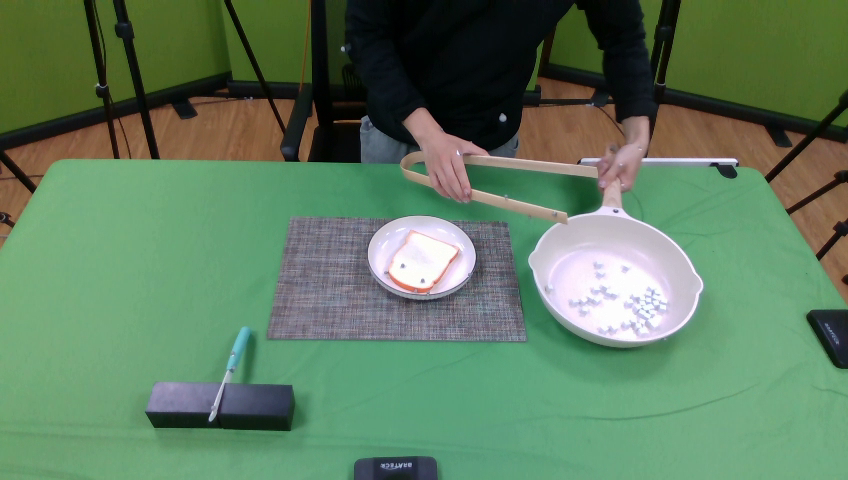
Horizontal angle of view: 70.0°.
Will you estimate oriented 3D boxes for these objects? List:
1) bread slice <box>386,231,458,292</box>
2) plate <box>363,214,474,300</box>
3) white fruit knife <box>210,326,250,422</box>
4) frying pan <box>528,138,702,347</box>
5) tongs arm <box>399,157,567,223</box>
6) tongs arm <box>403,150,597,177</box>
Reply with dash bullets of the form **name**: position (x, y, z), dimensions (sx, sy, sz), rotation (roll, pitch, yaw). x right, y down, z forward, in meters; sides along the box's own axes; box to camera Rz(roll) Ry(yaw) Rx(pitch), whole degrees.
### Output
- **bread slice**: position (-0.007, 0.043, 1.142), dimensions (0.107, 0.018, 0.134), rotation (18, 46, 14)
- **plate**: position (-0.010, 0.036, 1.146), dimensions (0.208, 0.039, 0.206), rotation (3, 46, -2)
- **white fruit knife**: position (-0.301, 0.201, 0.942), dimensions (0.016, 0.027, 0.206), rotation (1, 32, -2)
- **frying pan**: position (0.357, -0.012, 1.162), dimensions (0.307, 0.103, 0.485), rotation (9, 58, 5)
- **tongs arm**: position (0.095, -0.097, 1.103), dimensions (0.383, 0.027, 0.050), rotation (17, 56, 35)
- **tongs arm**: position (0.131, -0.142, 1.137), dimensions (0.386, 0.028, 0.028), rotation (9, 55, 30)
